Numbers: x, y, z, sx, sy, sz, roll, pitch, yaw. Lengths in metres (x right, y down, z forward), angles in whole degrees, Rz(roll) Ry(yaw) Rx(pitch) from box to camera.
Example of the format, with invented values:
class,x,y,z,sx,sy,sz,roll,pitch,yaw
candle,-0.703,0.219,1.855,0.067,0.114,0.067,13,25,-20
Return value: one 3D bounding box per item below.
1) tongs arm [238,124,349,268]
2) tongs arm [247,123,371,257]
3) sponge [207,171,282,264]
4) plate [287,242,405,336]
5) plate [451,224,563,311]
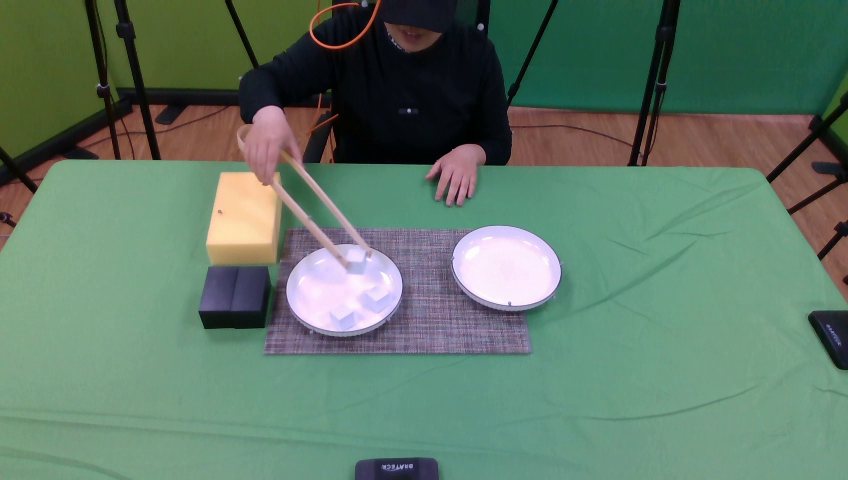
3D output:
class,x,y,z,sx,sy,sz,roll,pitch,yaw
tongs arm,-0.242,-0.090,1.125,0.051,0.026,0.383,-33,64,-30
tongs arm,-0.219,-0.102,1.140,0.028,0.028,0.385,-32,64,-25
sponge,-0.346,-0.048,1.191,0.118,0.061,0.205,-2,46,-6
plate,-0.138,0.090,1.085,0.208,0.039,0.206,2,46,-2
plate,0.154,0.053,1.140,0.209,0.038,0.208,2,46,-2
